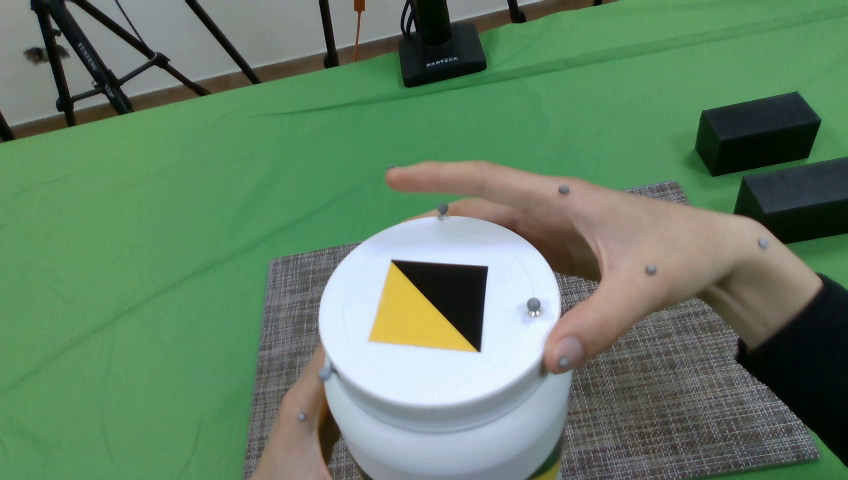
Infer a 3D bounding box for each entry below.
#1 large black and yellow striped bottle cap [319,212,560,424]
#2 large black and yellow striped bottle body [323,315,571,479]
[{"bbox_3d":[0.007,0.032,0.290,0.115,0.019,0.114,-5,46,5],"label":"large black and yellow striped bottle cap"},{"bbox_3d":[0.016,0.090,0.351,0.131,0.186,0.129,-4,45,5],"label":"large black and yellow striped bottle body"}]
